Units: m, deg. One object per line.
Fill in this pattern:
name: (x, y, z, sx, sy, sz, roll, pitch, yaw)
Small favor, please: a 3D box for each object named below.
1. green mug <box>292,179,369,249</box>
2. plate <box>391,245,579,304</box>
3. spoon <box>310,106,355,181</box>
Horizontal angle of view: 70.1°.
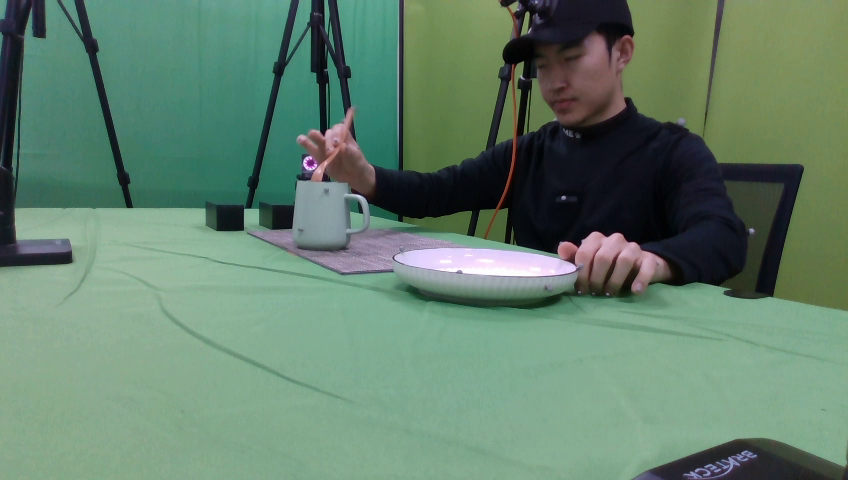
green mug: (-0.144, -0.040, 0.944, 0.125, 0.105, 0.093, 4, 7, 16)
plate: (0.066, 0.038, 0.683, 0.209, 0.038, 0.209, 2, 7, 0)
spoon: (-0.147, -0.148, 0.980, 0.022, 0.193, 0.041, 32, -35, -15)
